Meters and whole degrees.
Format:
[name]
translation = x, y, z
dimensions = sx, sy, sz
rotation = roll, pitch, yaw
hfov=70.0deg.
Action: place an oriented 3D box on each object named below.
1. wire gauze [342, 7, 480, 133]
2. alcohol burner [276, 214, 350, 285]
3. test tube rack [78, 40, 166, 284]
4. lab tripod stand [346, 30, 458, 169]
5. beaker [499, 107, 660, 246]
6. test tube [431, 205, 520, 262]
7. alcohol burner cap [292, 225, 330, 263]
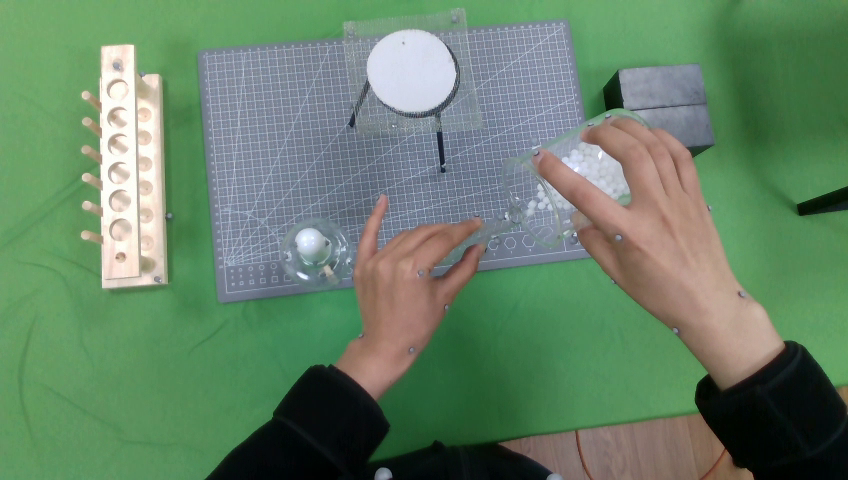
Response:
[wire gauze]
translation = -0.013, -0.164, 0.589
dimensions = 0.125, 0.011, 0.121
rotation = -6, 82, -5
[alcohol burner]
translation = -0.117, 0.008, 0.633
dimensions = 0.078, 0.119, 0.077
rotation = 1, 80, -6
[test tube rack]
translation = -0.326, -0.079, 0.645
dimensions = 0.067, 0.085, 0.241
rotation = -4, 82, -5
[lab tripod stand]
translation = -0.015, -0.158, 0.656
dimensions = 0.148, 0.132, 0.148
rotation = 1, 79, -3
[beaker]
translation = 0.118, -0.050, 0.458
dimensions = 0.100, 0.084, 0.074
rotation = -27, 84, -12
[test tube]
translation = 0.042, -0.002, 0.550
dimensions = 0.017, 0.150, 0.017
rotation = 7, 72, -23
[alcohol burner cap]
translation = -0.113, 0.003, 0.597
dimensions = 0.034, 0.048, 0.033
rotation = 0, 76, 1
